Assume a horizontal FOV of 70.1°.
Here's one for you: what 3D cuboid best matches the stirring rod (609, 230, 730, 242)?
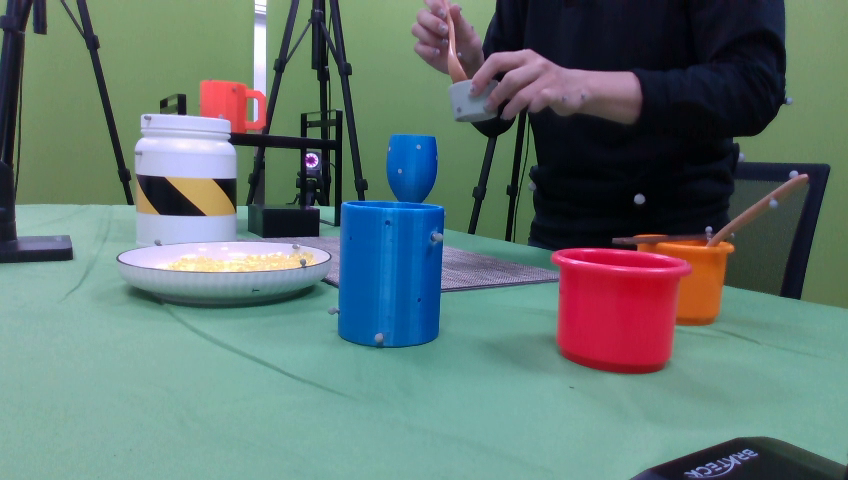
[{"bbox_3d":[0.241,-0.004,0.582,0.177,0.006,0.014,-3,10,-33],"label":"stirring rod"}]

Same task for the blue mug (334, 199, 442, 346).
[{"bbox_3d":[-0.034,0.020,0.498,0.083,0.106,0.116,0,7,-19],"label":"blue mug"}]

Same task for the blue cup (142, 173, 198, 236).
[{"bbox_3d":[-0.425,-0.060,1.014,0.093,0.100,0.092,4,9,0],"label":"blue cup"}]

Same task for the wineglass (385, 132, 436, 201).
[{"bbox_3d":[-0.020,-0.061,0.838,0.074,0.172,0.073,2,7,0],"label":"wineglass"}]

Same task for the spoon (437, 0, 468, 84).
[{"bbox_3d":[0.027,-0.267,0.752,0.021,0.193,0.041,-11,-17,-1],"label":"spoon"}]

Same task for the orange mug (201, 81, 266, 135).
[{"bbox_3d":[-0.376,-0.260,1.198,0.126,0.101,0.083,-3,8,-6],"label":"orange mug"}]

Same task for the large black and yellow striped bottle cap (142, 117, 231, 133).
[{"bbox_3d":[-0.328,-0.159,0.839,0.115,0.019,0.115,1,9,0],"label":"large black and yellow striped bottle cap"}]

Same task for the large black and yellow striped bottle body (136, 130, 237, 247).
[{"bbox_3d":[-0.332,-0.076,0.851,0.131,0.184,0.130,3,8,0],"label":"large black and yellow striped bottle body"}]

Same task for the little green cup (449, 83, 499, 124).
[{"bbox_3d":[0.059,-0.163,0.724,0.061,0.038,0.061,4,1,0],"label":"little green cup"}]

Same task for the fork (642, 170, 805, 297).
[{"bbox_3d":[0.261,0.003,0.545,0.028,0.018,0.207,5,-37,-15],"label":"fork"}]

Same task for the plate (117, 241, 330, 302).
[{"bbox_3d":[-0.203,0.031,0.630,0.209,0.038,0.209,3,7,0],"label":"plate"}]
